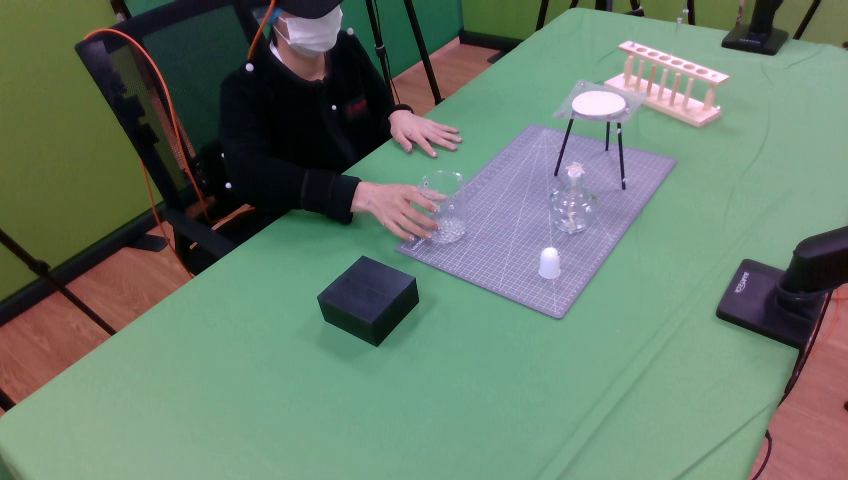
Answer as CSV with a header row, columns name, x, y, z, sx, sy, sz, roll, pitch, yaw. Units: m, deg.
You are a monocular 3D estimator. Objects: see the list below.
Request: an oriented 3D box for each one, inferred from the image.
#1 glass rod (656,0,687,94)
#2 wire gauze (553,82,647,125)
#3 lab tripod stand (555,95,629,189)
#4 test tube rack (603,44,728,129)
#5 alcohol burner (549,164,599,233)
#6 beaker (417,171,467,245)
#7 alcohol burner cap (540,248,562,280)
name,x,y,z,sx,sy,sz,roll,pitch,yaw
glass rod,0.491,-0.381,1.199,0.008,0.200,0.008,1,41,0
wire gauze,0.293,-0.226,1.002,0.120,0.011,0.125,17,45,27
lab tripod stand,0.300,-0.174,1.045,0.148,0.132,0.147,-5,38,5
test tube rack,0.480,-0.316,1.227,0.067,0.085,0.240,-28,44,-22
alcohol burner,0.235,-0.069,0.946,0.078,0.119,0.077,-3,41,3
beaker,0.034,-0.049,0.965,0.084,0.101,0.073,-32,45,-27
alcohol burner cap,0.187,0.032,0.888,0.034,0.048,0.033,-4,40,4
